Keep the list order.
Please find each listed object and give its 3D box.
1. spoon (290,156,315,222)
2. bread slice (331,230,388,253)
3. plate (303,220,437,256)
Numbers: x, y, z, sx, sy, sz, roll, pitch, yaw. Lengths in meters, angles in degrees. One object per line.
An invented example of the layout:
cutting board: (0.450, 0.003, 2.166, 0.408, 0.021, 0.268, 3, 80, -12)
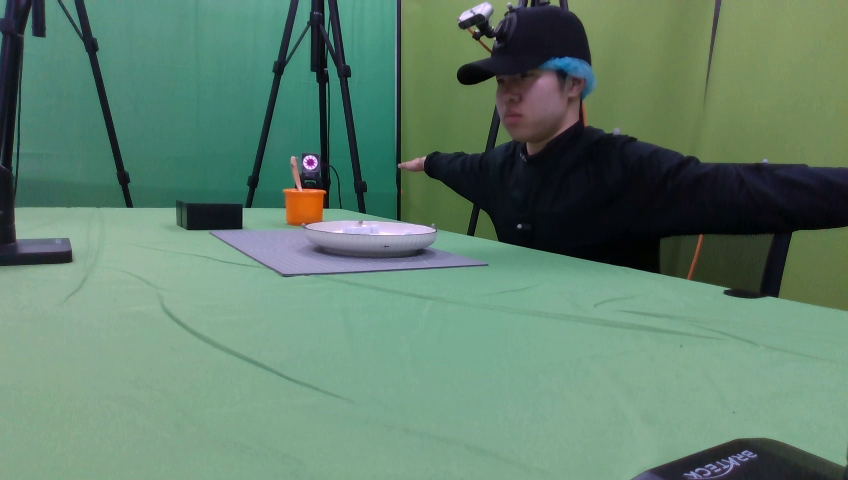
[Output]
spoon: (-0.274, -0.116, 1.329, 0.042, 0.021, 0.193, -3, 49, -25)
bread slice: (-0.088, 0.000, 0.947, 0.105, 0.019, 0.131, -4, 11, -45)
plate: (-0.084, -0.003, 0.951, 0.209, 0.038, 0.209, 3, 7, 0)
